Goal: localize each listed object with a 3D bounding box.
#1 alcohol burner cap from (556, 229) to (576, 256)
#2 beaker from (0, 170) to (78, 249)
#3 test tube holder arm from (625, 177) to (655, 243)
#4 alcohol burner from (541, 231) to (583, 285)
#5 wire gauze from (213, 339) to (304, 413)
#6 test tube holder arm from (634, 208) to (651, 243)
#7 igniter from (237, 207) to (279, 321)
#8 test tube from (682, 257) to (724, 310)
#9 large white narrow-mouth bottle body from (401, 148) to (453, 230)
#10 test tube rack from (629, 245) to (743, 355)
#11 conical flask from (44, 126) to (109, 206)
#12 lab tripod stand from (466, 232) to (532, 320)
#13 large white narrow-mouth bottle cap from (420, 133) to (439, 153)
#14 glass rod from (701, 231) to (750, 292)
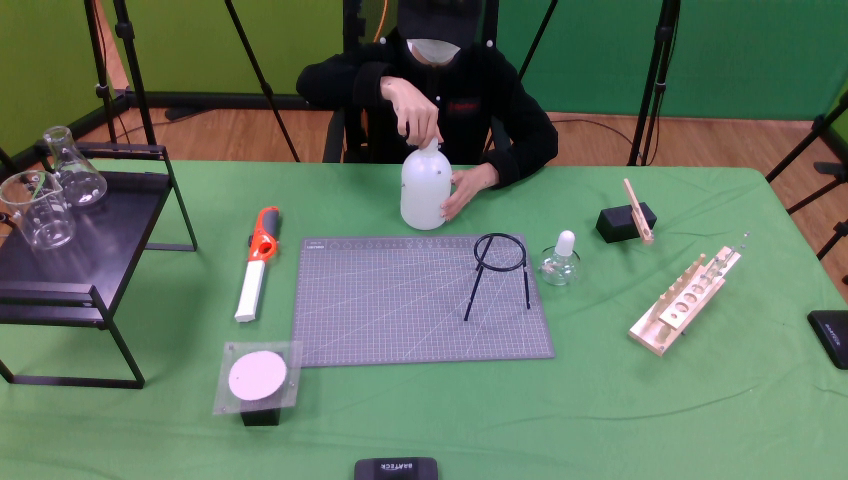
[{"bbox_3d":[0.260,0.002,1.098,0.034,0.048,0.033,3,40,-2],"label":"alcohol burner cap"},{"bbox_3d":[-0.562,-0.042,0.894,0.084,0.101,0.073,-2,47,-7],"label":"beaker"},{"bbox_3d":[0.433,-0.063,1.220,0.013,0.015,0.177,1,47,-3],"label":"test tube holder arm"},{"bbox_3d":[0.258,0.028,1.123,0.078,0.120,0.077,1,48,-1],"label":"alcohol burner"},{"bbox_3d":[-0.250,0.203,0.925,0.121,0.011,0.124,-1,46,-3],"label":"wire gauze"},{"bbox_3d":[0.428,-0.030,1.189,0.010,0.015,0.087,1,47,-2],"label":"test tube holder arm"},{"bbox_3d":[-0.309,0.036,1.136,0.057,0.025,0.274,-7,45,5],"label":"igniter"},{"bbox_3d":[0.475,0.080,1.037,0.017,0.151,0.017,2,51,-2],"label":"test tube"},{"bbox_3d":[0.005,-0.119,1.191,0.102,0.195,0.101,2,46,-2],"label":"large white narrow-mouth bottle body"},{"bbox_3d":[0.474,0.095,1.091,0.242,0.085,0.066,-34,56,-31],"label":"test tube rack"},{"bbox_3d":[-0.554,-0.119,0.953,0.075,0.122,0.075,2,46,-2],"label":"conical flask"},{"bbox_3d":[0.125,0.059,1.065,0.148,0.132,0.147,1,45,0],"label":"lab tripod stand"},{"bbox_3d":[0.011,-0.180,1.126,0.038,0.024,0.037,2,46,-2],"label":"large white narrow-mouth bottle cap"},{"bbox_3d":[0.519,0.045,1.050,0.008,0.201,0.008,0,55,0],"label":"glass rod"}]
